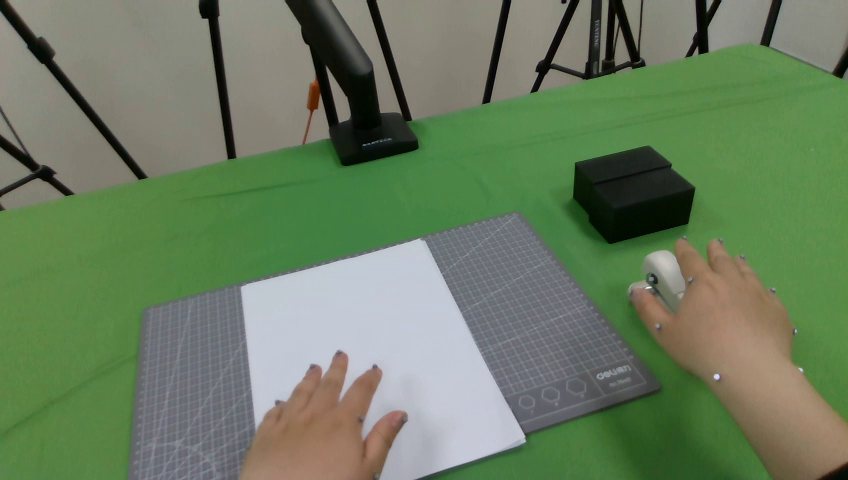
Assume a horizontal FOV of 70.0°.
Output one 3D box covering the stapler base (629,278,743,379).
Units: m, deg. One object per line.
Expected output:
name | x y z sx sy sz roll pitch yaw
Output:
stapler base | 0.244 0.073 0.573 0.041 0.024 0.129 -16 40 -10

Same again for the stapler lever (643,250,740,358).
stapler lever | 0.243 0.054 0.556 0.027 0.040 0.116 -16 40 -10
